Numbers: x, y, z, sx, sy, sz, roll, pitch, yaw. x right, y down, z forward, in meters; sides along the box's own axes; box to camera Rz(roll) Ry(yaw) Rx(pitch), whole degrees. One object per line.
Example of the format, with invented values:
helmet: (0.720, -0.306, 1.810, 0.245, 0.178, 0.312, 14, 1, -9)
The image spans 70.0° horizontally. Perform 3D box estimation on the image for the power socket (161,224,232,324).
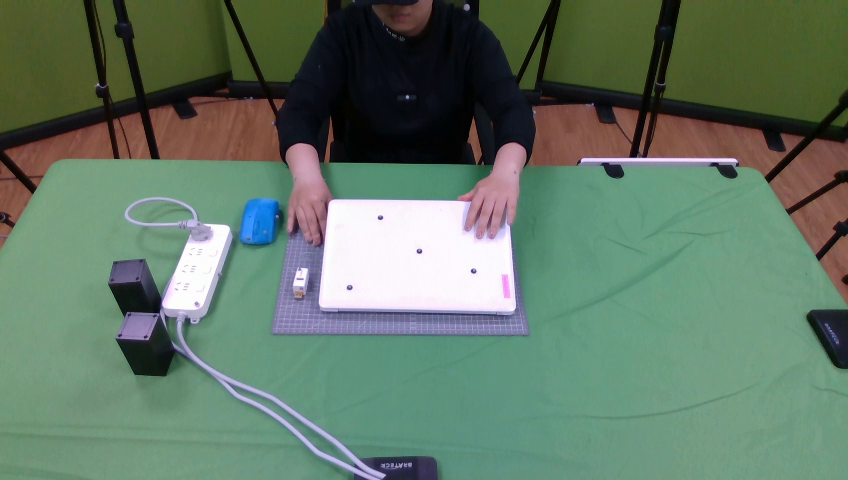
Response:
power socket: (-0.412, 0.052, 1.107, 0.072, 0.033, 0.225, 4, 45, -1)

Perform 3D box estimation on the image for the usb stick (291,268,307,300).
usb stick: (-0.227, 0.081, 1.093, 0.021, 0.027, 0.059, 6, 48, -4)

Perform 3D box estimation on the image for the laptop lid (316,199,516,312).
laptop lid: (-0.011, 0.023, 1.119, 0.357, 0.013, 0.240, 3, 59, -2)

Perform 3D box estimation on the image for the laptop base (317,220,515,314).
laptop base: (-0.014, 0.050, 1.149, 0.354, 0.023, 0.234, 1, 42, -3)

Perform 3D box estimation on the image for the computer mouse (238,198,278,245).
computer mouse: (-0.327, -0.039, 1.200, 0.063, 0.041, 0.116, 4, 50, -4)

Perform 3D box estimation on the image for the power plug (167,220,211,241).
power plug: (-0.438, -0.017, 1.143, 0.072, 0.053, 0.035, 10, 43, 7)
